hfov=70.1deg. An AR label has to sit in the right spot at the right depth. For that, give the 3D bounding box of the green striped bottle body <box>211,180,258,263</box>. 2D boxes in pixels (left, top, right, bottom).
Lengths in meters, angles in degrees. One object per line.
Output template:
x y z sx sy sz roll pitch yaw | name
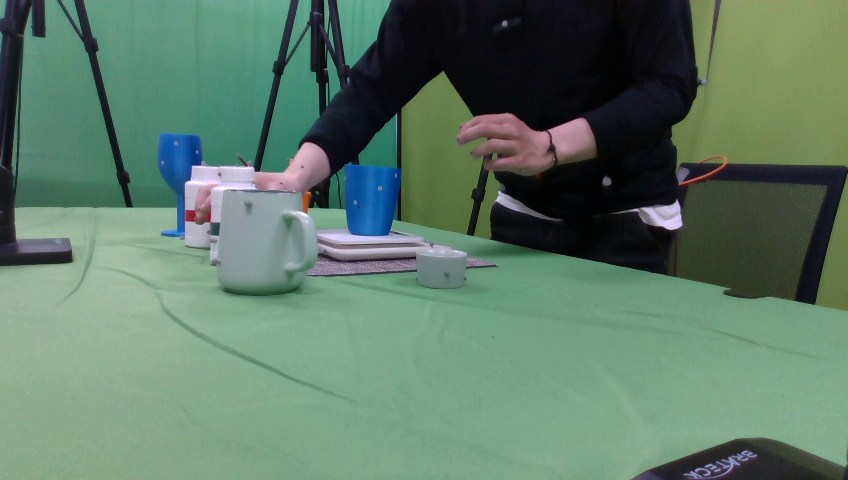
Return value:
-0.243 -0.030 0.784 0.063 0.119 0.063 2 7 0 | green striped bottle body

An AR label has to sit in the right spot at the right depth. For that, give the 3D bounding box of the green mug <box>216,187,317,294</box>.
-0.157 0.000 0.629 0.124 0.105 0.093 7 9 37 | green mug

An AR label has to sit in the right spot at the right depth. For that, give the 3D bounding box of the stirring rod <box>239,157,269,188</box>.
-0.309 -0.098 1.209 0.006 0.177 0.014 -39 29 -4 | stirring rod

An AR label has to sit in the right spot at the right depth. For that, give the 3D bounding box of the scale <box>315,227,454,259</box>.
-0.066 0.001 0.906 0.202 0.031 0.148 -2 8 -32 | scale

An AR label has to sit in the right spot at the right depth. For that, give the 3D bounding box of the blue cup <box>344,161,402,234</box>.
-0.077 -0.062 0.883 0.093 0.100 0.092 4 5 0 | blue cup

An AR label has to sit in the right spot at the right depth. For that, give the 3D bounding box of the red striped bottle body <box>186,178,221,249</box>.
-0.331 -0.049 0.928 0.063 0.119 0.063 2 7 0 | red striped bottle body

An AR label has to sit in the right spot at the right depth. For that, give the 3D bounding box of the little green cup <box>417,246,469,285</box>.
0.021 0.029 0.701 0.061 0.038 0.061 1 6 0 | little green cup

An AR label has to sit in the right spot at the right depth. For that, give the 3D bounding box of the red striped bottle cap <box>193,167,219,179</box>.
-0.329 -0.103 0.921 0.044 0.017 0.044 -1 9 1 | red striped bottle cap

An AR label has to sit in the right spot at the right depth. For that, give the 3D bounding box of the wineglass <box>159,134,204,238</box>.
-0.415 -0.093 1.040 0.074 0.172 0.073 2 7 0 | wineglass

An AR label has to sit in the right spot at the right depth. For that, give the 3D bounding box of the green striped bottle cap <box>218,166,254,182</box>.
-0.242 -0.085 0.778 0.044 0.020 0.044 1 7 0 | green striped bottle cap

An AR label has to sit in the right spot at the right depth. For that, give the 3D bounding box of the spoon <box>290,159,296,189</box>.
-0.273 -0.102 1.252 0.042 0.193 0.021 7 -38 -17 | spoon
